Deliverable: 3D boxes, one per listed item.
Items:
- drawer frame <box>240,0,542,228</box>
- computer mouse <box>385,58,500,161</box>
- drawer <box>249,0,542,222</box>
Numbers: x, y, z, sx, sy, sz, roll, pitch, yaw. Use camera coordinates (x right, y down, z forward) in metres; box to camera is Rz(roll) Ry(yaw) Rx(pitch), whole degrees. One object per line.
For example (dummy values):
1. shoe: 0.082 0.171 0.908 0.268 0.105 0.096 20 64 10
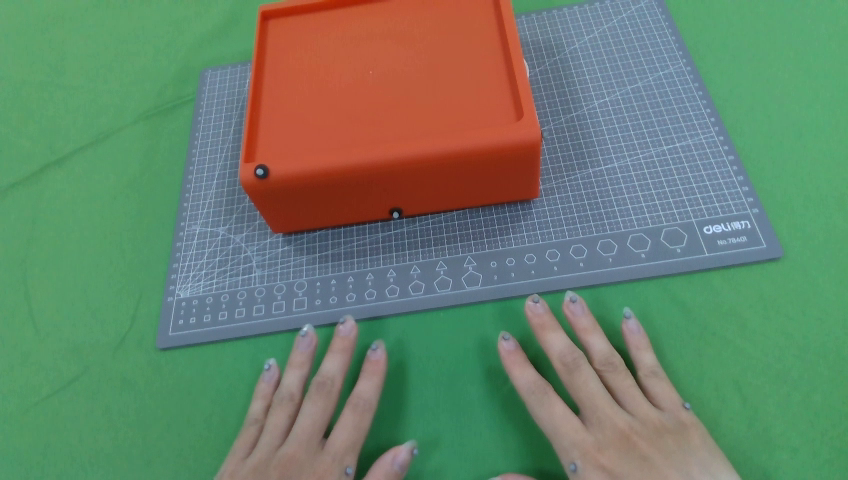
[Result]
1. drawer frame: -0.025 -0.120 0.489 0.213 0.083 0.199 -9 58 5
2. computer mouse: 0.016 -0.113 0.493 0.062 0.041 0.116 12 53 25
3. drawer: -0.022 -0.121 0.490 0.211 0.074 0.192 -8 58 5
